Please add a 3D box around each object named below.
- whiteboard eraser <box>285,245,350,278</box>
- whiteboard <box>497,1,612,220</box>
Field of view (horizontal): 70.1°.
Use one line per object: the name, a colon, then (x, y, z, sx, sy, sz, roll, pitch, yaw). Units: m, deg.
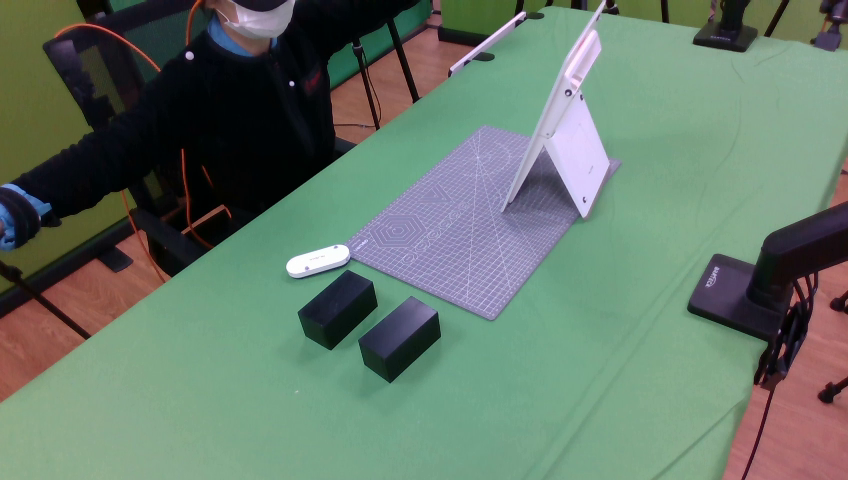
whiteboard eraser: (-0.168, 0.033, 0.954, 0.101, 0.019, 0.041, -15, 41, -9)
whiteboard: (0.260, -0.178, 0.963, 0.143, 0.306, 0.217, 28, 49, 9)
